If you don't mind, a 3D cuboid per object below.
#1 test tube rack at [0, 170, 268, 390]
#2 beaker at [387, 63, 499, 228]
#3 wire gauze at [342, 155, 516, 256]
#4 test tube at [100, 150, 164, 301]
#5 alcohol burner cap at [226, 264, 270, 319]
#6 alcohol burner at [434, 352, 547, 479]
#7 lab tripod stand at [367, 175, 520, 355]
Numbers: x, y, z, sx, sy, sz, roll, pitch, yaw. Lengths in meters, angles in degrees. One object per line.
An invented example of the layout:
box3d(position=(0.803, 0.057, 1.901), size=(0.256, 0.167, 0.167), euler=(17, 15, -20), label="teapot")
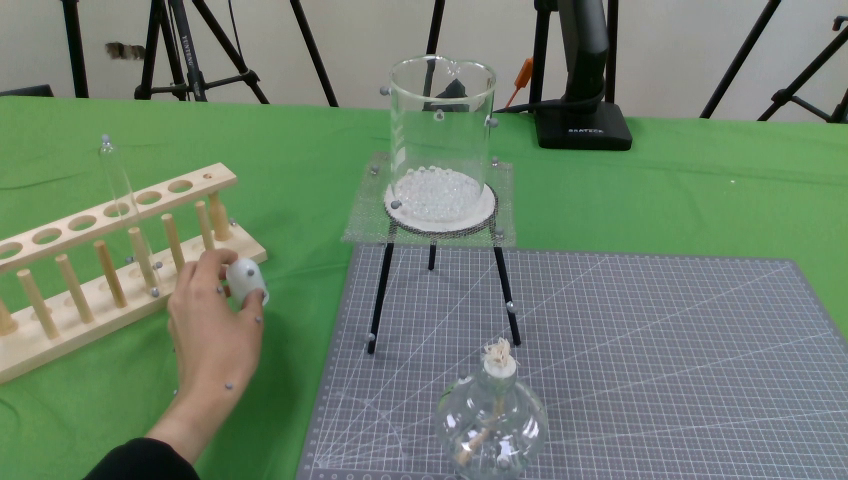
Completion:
box3d(position=(-0.270, 0.025, 0.543), size=(0.242, 0.086, 0.066), euler=(-27, 45, -31), label="test tube rack")
box3d(position=(0.012, -0.067, 0.435), size=(0.074, 0.101, 0.083), euler=(10, 38, 8), label="beaker")
box3d(position=(0.009, -0.027, 0.463), size=(0.121, 0.011, 0.124), euler=(4, 40, 4), label="wire gauze")
box3d(position=(-0.245, -0.008, 0.513), size=(0.017, 0.151, 0.017), euler=(1, 37, 0), label="test tube")
box3d(position=(-0.154, 0.042, 0.525), size=(0.034, 0.048, 0.033), euler=(0, 40, 1), label="alcohol burner cap")
box3d(position=(0.045, 0.115, 0.404), size=(0.078, 0.120, 0.077), euler=(1, 40, 0), label="alcohol burner")
box3d(position=(0.017, 0.024, 0.505), size=(0.148, 0.132, 0.147), euler=(2, 37, -1), label="lab tripod stand")
